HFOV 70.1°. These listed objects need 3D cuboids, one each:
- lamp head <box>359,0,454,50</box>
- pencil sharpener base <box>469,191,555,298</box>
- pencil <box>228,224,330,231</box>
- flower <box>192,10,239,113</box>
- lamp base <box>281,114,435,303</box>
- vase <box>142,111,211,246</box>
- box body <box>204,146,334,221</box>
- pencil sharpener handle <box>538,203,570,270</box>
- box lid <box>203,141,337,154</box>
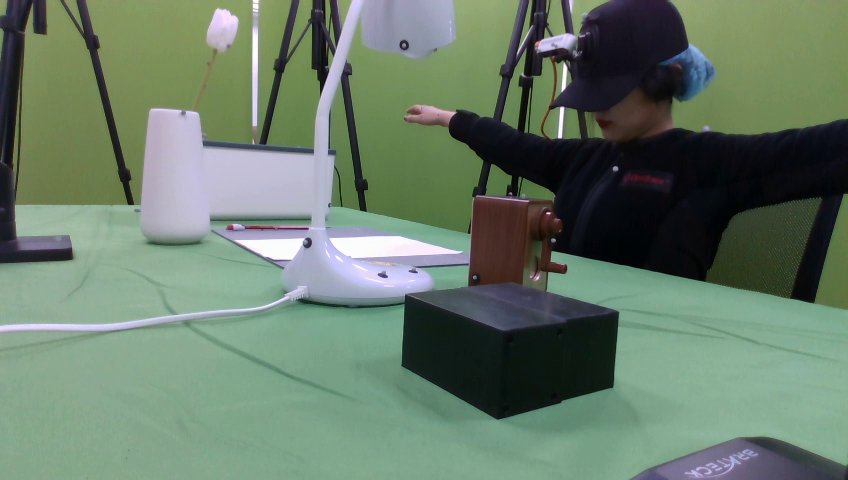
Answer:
[{"bbox_3d":[-0.024,-0.283,0.674,0.112,0.123,0.112,-3,38,3],"label":"lamp head"},{"bbox_3d":[0.097,0.003,0.652,0.076,0.107,0.061,8,9,38],"label":"pencil sharpener base"},{"bbox_3d":[-0.265,-0.023,1.124,0.195,0.012,0.012,-1,8,-32],"label":"pencil"},{"bbox_3d":[-0.354,-0.174,0.915,0.038,0.361,0.044,18,-4,12],"label":"flower"},{"bbox_3d":[-0.071,-0.035,0.614,0.160,0.180,0.180,6,10,27],"label":"lamp base"},{"bbox_3d":[-0.378,-0.093,0.920,0.098,0.200,0.098,2,9,0],"label":"vase"},{"bbox_3d":[-0.413,-0.134,1.379,0.366,0.160,0.253,-2,9,-31],"label":"box body"},{"bbox_3d":[0.137,-0.003,0.619,0.030,0.067,0.036,8,5,38],"label":"pencil sharpener handle"},{"bbox_3d":[-0.407,-0.209,1.370,0.373,0.015,0.262,-1,8,-31],"label":"box lid"}]
